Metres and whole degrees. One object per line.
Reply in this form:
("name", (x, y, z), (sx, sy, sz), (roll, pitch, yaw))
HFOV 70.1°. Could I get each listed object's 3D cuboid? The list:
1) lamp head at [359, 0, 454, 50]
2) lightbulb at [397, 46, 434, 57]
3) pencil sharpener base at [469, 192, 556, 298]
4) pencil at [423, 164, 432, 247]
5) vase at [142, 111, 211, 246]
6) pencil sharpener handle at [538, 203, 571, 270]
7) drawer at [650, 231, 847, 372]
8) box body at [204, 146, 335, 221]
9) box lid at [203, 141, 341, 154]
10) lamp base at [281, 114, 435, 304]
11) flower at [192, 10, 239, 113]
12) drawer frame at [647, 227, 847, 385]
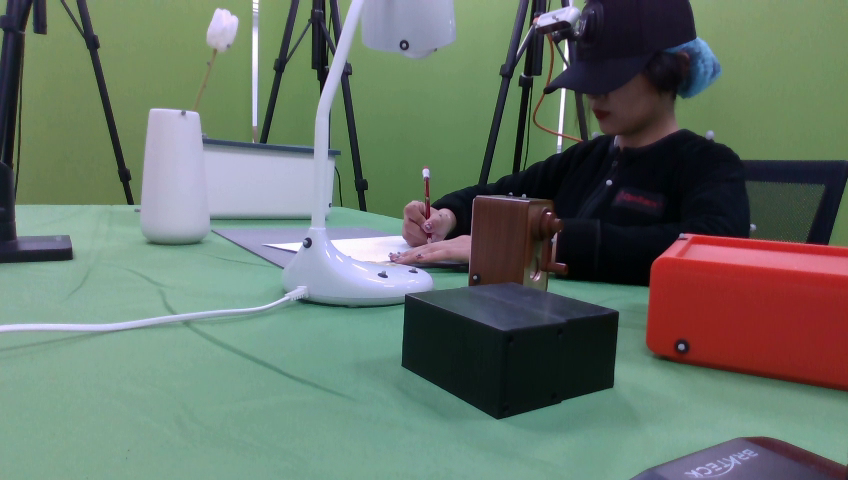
("lamp head", (-0.024, -0.282, 0.674), (0.112, 0.123, 0.112), (-3, 38, 3))
("lightbulb", (-0.017, -0.264, 0.692), (0.059, 0.108, 0.059), (-9, 29, 5))
("pencil sharpener base", (0.097, 0.003, 0.652), (0.076, 0.107, 0.061), (8, 9, 38))
("pencil", (0.007, -0.060, 0.999), (0.012, 0.012, 0.193), (2, 47, -4))
("vase", (-0.378, -0.093, 0.920), (0.098, 0.200, 0.098), (2, 9, 0))
("pencil sharpener handle", (0.137, -0.003, 0.619), (0.030, 0.067, 0.036), (8, 6, 38))
("drawer", (0.303, 0.044, 0.499), (0.194, 0.073, 0.212), (7, 9, 27))
("box body", (-0.410, -0.135, 1.386), (0.366, 0.160, 0.253), (-2, 9, -29))
("box lid", (-0.396, -0.212, 1.373), (0.373, 0.015, 0.262), (-1, 9, -29))
("lamp base", (-0.071, -0.034, 0.614), (0.160, 0.180, 0.180), (6, 10, 27))
("flower", (-0.354, -0.174, 0.915), (0.038, 0.361, 0.044), (18, -4, 12))
("drawer frame", (0.303, 0.043, 0.495), (0.201, 0.082, 0.214), (6, 9, 26))
